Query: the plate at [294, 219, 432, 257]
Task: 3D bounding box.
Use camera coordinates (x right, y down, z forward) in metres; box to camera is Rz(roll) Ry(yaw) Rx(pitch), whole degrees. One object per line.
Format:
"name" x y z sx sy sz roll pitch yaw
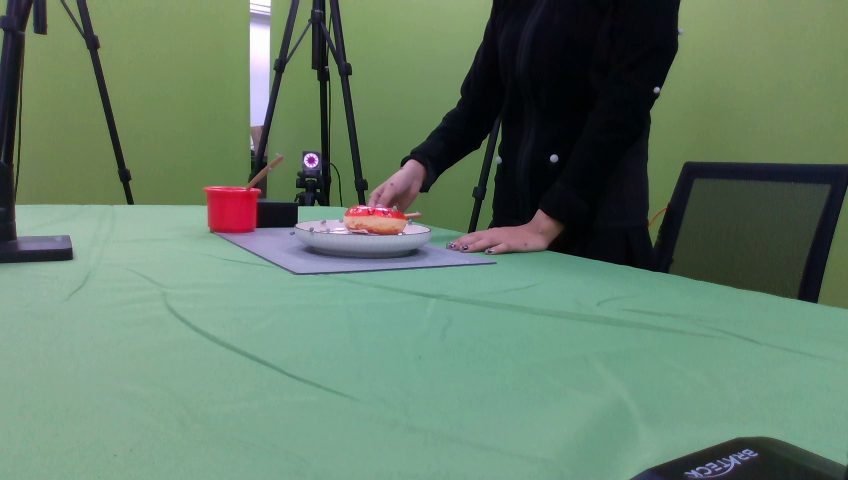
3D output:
"plate" -0.092 -0.003 0.923 0.209 0.038 0.209 2 7 0

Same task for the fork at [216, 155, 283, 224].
"fork" -0.304 -0.084 1.054 0.207 0.018 0.028 -42 -19 30

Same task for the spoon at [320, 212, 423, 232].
"spoon" -0.083 -0.028 1.005 0.194 0.021 0.041 -17 20 -30

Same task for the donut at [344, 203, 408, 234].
"donut" -0.073 -0.031 0.931 0.099 0.048 0.099 4 3 0

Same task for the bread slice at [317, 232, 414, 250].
"bread slice" -0.093 0.000 0.915 0.132 0.019 0.104 0 6 -26
